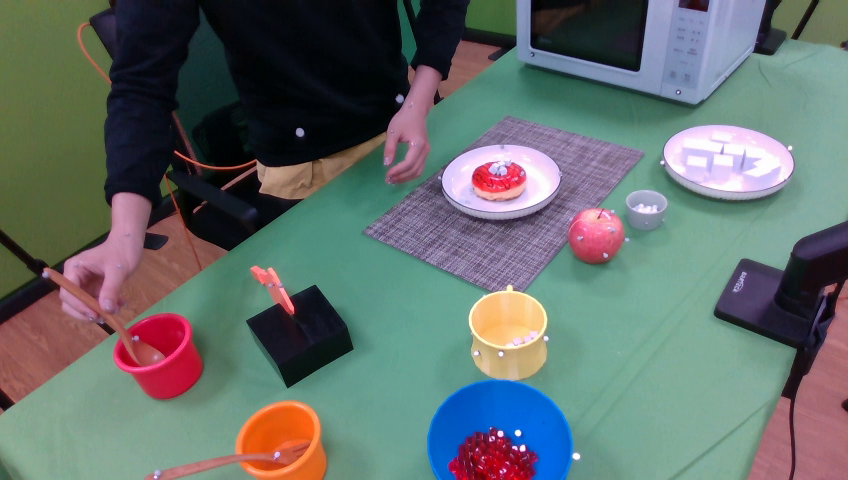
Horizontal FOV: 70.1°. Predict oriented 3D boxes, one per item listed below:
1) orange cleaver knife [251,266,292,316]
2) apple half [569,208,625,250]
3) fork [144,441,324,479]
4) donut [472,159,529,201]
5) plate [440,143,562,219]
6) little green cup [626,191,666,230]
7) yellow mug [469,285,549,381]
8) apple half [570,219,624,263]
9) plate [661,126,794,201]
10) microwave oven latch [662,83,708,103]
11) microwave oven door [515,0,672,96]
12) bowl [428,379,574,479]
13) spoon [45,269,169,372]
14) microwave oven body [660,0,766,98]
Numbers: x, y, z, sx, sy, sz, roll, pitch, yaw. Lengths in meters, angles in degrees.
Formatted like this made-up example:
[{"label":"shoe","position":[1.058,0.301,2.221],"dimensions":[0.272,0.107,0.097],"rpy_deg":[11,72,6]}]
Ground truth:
[{"label":"orange cleaver knife","position":[-0.221,0.071,0.873],"dimensions":[0.012,0.077,0.210],"rpy_deg":[-25,11,-21]},{"label":"apple half","position":[0.262,-0.014,0.913],"dimensions":[0.080,0.075,0.053],"rpy_deg":[4,37,20]},{"label":"fork","position":[-0.189,0.231,0.631],"dimensions":[0.028,0.018,0.209],"rpy_deg":[34,12,38]},{"label":"donut","position":[0.131,-0.105,1.043],"dimensions":[0.099,0.048,0.098],"rpy_deg":[-4,38,4]},{"label":"plate","position":[0.134,-0.098,1.052],"dimensions":[0.209,0.038,0.208],"rpy_deg":[-4,40,4]},{"label":"little green cup","position":[0.352,-0.046,0.963],"dimensions":[0.061,0.039,0.061],"rpy_deg":[-4,40,4]},{"label":"yellow mug","position":[0.112,0.112,0.792],"dimensions":[0.100,0.064,0.130],"rpy_deg":[0,40,9]},{"label":"apple half","position":[0.250,0.010,0.885],"dimensions":[0.081,0.081,0.033],"rpy_deg":[7,39,17]},{"label":"plate","position":[0.513,-0.128,1.035],"dimensions":[0.207,0.039,0.206],"rpy_deg":[-4,40,4]},{"label":"microwave oven latch","position":[0.518,-0.296,1.204],"dimensions":[0.078,0.029,0.030],"rpy_deg":[27,52,35]},{"label":"microwave oven door","position":[0.344,-0.455,1.259],"dimensions":[0.353,0.245,0.039],"rpy_deg":[26,51,33]},{"label":"bowl","position":[0.082,0.233,0.644],"dimensions":[0.151,0.077,0.150],"rpy_deg":[-4,39,4]},{"label":"spoon","position":[-0.383,0.100,0.740],"dimensions":[0.021,0.195,0.041],"rpy_deg":[-24,35,7]},{"label":"microwave oven body","position":[0.472,-0.513,1.317],"dimensions":[0.438,0.261,0.327],"rpy_deg":[26,51,34]}]
